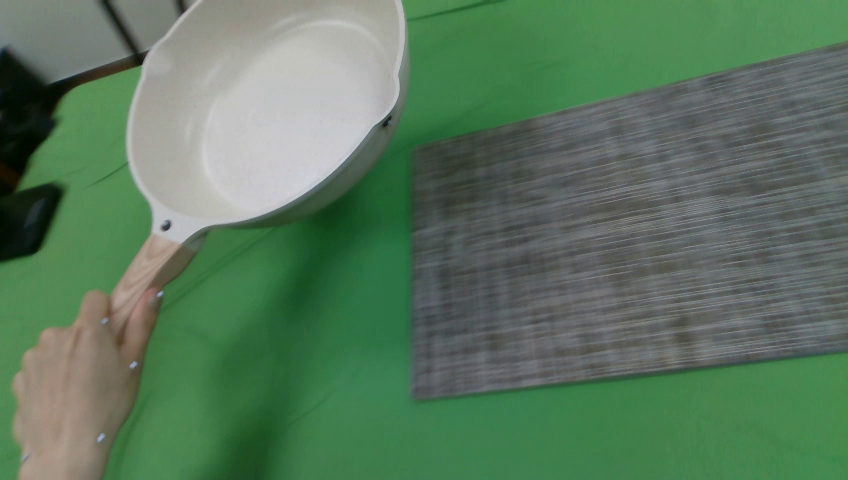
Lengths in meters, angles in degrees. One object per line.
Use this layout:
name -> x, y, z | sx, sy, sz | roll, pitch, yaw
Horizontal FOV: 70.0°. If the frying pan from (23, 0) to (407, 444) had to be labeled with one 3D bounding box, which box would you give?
frying pan -> -0.189, -0.051, 0.538 | 0.304, 0.104, 0.486 | 18, 68, 29
